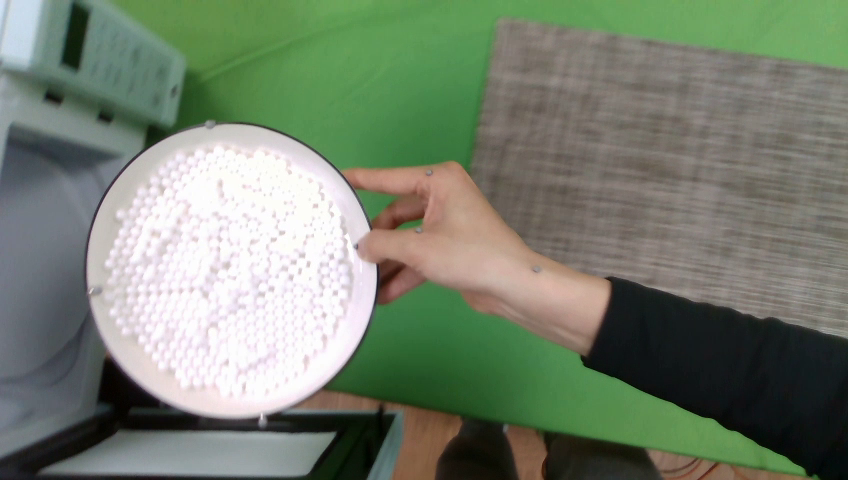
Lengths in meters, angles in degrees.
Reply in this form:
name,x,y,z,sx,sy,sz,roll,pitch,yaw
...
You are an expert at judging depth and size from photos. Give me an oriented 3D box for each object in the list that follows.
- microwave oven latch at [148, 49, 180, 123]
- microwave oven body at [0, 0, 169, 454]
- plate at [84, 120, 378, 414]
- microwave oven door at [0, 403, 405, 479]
name,x,y,z,sx,sy,sz,roll,pitch,yaw
microwave oven latch,-0.298,-0.175,0.682,0.030,0.029,0.079,13,91,3
microwave oven body,-0.480,-0.027,0.596,0.326,0.260,0.441,10,91,3
plate,-0.136,0.020,0.444,0.209,0.038,0.209,0,94,0
microwave oven door,-0.206,0.205,0.577,0.356,0.244,0.039,-1,89,3
